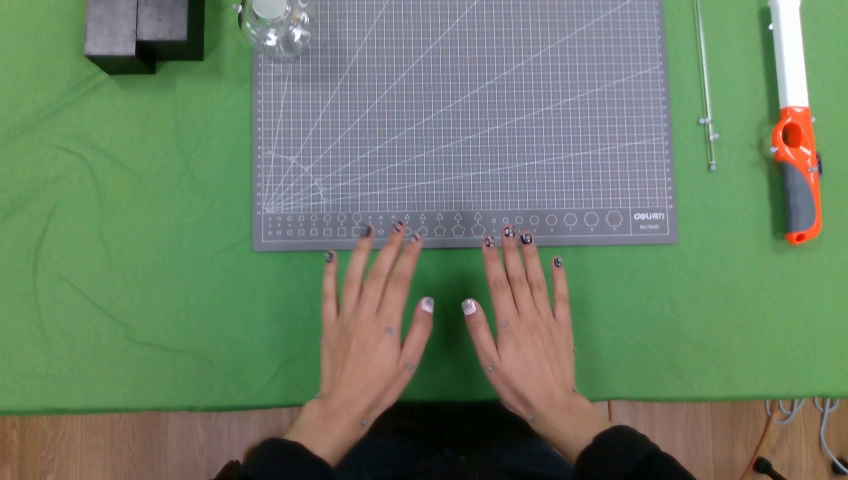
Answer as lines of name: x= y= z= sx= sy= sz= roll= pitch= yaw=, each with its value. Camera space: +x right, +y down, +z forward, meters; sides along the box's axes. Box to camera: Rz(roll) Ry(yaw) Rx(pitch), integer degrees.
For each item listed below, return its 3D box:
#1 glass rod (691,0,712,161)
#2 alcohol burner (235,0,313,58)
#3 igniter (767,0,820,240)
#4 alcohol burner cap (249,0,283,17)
glass rod: x=0.306 y=-0.185 z=0.668 sx=0.008 sy=0.008 sz=0.199 roll=-3 pitch=85 yaw=-3
alcohol burner: x=-0.151 y=-0.228 z=0.596 sx=0.078 sy=0.119 sz=0.077 roll=0 pitch=85 yaw=0
igniter: x=0.399 y=-0.137 z=0.658 sx=0.057 sy=0.025 sz=0.276 roll=0 pitch=85 yaw=-13
alcohol burner cap: x=-0.151 y=-0.234 z=0.560 sx=0.034 sy=0.048 sz=0.033 roll=1 pitch=78 yaw=-4
